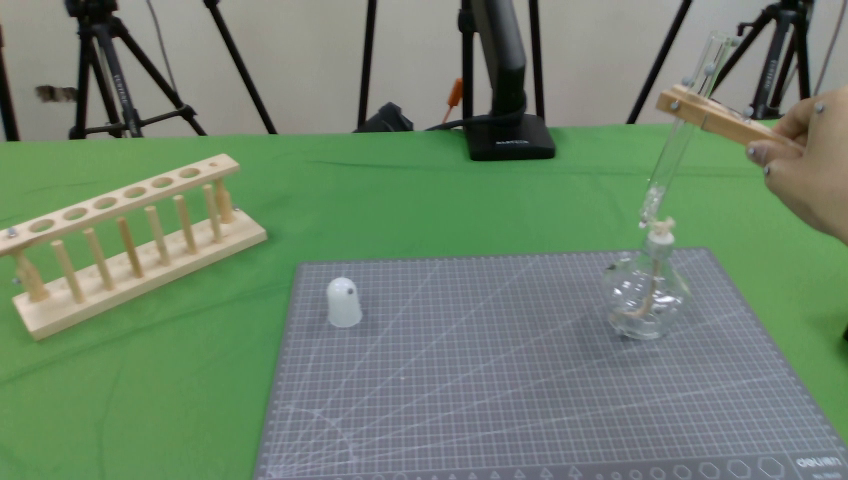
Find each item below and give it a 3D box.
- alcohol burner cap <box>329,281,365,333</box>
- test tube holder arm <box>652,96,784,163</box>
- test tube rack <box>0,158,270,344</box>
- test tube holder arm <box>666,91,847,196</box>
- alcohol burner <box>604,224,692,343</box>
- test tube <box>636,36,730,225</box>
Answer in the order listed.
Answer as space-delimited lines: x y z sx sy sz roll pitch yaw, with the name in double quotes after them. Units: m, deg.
-0.073 0.060 0.571 0.034 0.048 0.033 0 36 1 "alcohol burner cap"
0.197 -0.076 0.409 0.087 0.015 0.010 32 47 28 "test tube holder arm"
-0.288 0.002 0.622 0.242 0.086 0.066 -27 43 -32 "test tube rack"
0.232 -0.055 0.389 0.013 0.015 0.176 -27 50 -31 "test tube holder arm"
0.203 0.034 0.541 0.078 0.120 0.077 0 38 0 "alcohol burner"
0.183 -0.072 0.437 0.017 0.151 0.017 5 39 -3 "test tube"
